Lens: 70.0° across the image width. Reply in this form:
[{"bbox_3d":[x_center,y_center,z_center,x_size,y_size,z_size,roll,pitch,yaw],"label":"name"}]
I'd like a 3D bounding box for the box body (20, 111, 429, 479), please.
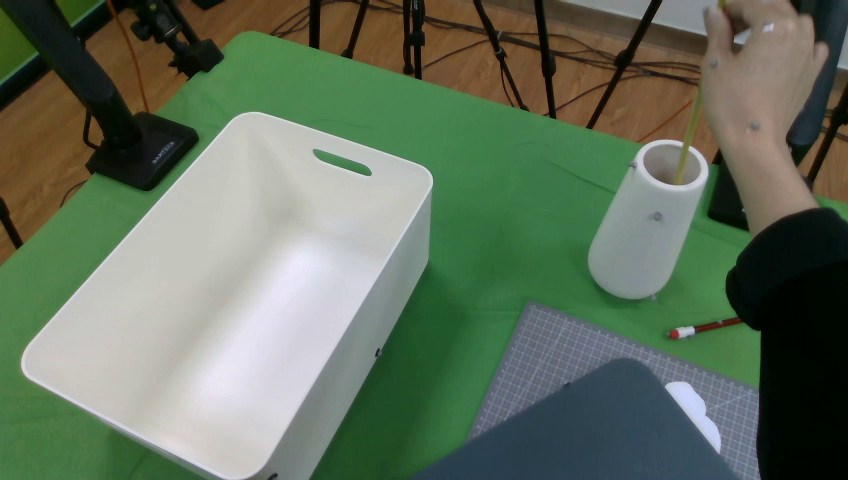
[{"bbox_3d":[-0.173,0.063,0.652,0.253,0.162,0.362,19,58,15],"label":"box body"}]

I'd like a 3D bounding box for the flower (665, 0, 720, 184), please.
[{"bbox_3d":[0.220,-0.150,0.476,0.043,0.365,0.038,26,58,26],"label":"flower"}]

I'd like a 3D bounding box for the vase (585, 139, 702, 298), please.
[{"bbox_3d":[0.243,-0.020,0.678,0.098,0.202,0.097,-1,53,2],"label":"vase"}]

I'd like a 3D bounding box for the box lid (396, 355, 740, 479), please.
[{"bbox_3d":[0.136,0.288,0.577,0.372,0.015,0.260,-26,59,-14],"label":"box lid"}]

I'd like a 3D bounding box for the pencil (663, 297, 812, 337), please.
[{"bbox_3d":[0.373,0.089,0.715,0.194,0.012,0.012,-11,55,-9],"label":"pencil"}]
